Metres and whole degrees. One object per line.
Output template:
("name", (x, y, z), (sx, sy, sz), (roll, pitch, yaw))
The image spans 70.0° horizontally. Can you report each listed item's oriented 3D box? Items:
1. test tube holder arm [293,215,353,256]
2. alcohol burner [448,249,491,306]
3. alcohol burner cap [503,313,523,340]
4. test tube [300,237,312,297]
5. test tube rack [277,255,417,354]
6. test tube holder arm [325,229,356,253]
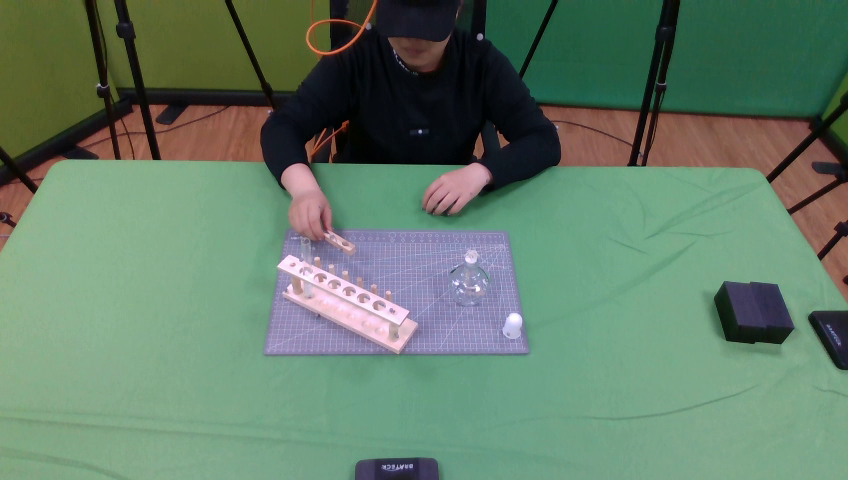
("test tube holder arm", (-0.196, -0.011, 1.156), (0.177, 0.015, 0.013), (27, 47, 35))
("alcohol burner", (0.081, 0.062, 1.078), (0.078, 0.120, 0.077), (1, 45, -1))
("alcohol burner cap", (0.156, 0.147, 1.051), (0.034, 0.048, 0.033), (1, 45, -1))
("test tube", (-0.198, 0.050, 1.019), (0.017, 0.151, 0.017), (4, 49, -5))
("test tube rack", (-0.131, 0.099, 1.045), (0.241, 0.085, 0.066), (23, 49, 17))
("test tube holder arm", (-0.159, 0.003, 1.133), (0.087, 0.015, 0.010), (28, 48, 36))
